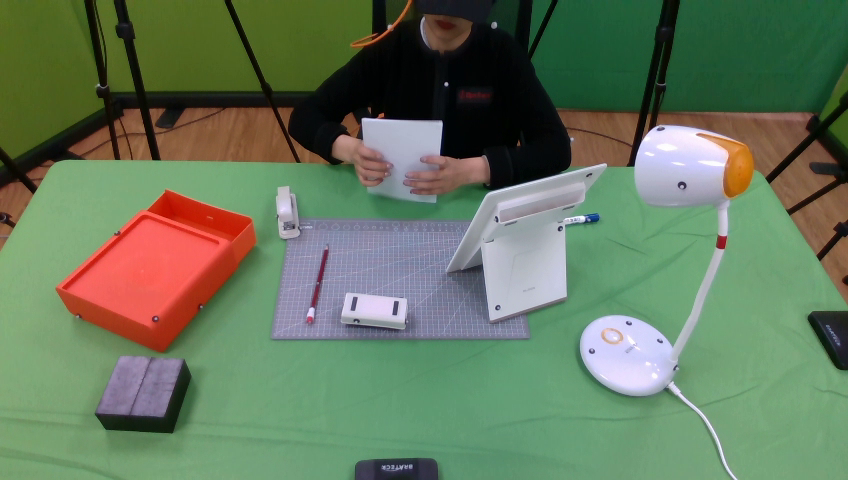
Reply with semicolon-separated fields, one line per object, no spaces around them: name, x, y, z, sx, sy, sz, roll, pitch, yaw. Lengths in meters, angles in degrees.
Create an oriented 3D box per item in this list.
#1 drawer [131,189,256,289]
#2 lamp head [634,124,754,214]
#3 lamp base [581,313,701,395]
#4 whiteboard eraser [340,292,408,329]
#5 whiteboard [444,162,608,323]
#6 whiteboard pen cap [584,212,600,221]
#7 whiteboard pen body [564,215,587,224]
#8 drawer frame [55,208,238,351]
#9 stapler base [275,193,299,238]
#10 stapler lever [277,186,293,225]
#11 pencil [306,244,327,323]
drawer;-0.449;0.018;1.105;0.194;0.073;0.211;19;48;12
lamp head;0.351;-0.089;0.775;0.112;0.113;0.122;-30;30;-28
lamp base;0.361;0.144;0.972;0.178;0.181;0.160;34;53;23
whiteboard eraser;-0.087;0.125;1.052;0.113;0.042;0.055;5;45;1
whiteboard;0.186;0.026;1.028;0.217;0.306;0.143;-14;68;-18
whiteboard pen cap;0.351;-0.049;1.271;0.033;0.018;0.018;-6;47;-11
whiteboard pen body;0.291;-0.040;1.261;0.141;0.017;0.017;-6;47;-11
drawer frame;-0.474;0.062;1.059;0.201;0.083;0.213;19;48;13
stapler base;-0.279;-0.056;1.228;0.041;0.024;0.129;-7;44;-11
stapler lever;-0.279;-0.076;1.211;0.027;0.040;0.117;-7;44;-11
pencil;-0.196;0.076;1.115;0.012;0.012;0.193;4;44;0
